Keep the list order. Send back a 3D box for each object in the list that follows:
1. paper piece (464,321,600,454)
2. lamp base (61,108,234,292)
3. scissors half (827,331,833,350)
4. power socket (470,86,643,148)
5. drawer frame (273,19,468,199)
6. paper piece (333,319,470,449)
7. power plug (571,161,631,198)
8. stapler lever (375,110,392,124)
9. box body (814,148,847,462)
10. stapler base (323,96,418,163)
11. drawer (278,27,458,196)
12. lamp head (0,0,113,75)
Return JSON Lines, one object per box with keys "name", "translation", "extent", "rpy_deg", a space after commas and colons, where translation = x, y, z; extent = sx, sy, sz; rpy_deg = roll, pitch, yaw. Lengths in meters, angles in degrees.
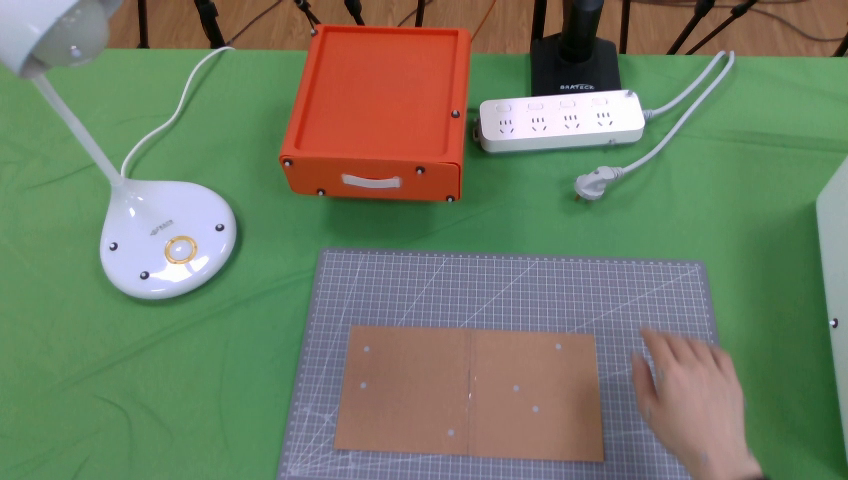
{"name": "paper piece", "translation": [0.111, 0.150, 0.630], "extent": [0.135, 0.004, 0.134], "rpy_deg": [2, 60, 5]}
{"name": "lamp base", "translation": [-0.325, -0.054, 0.671], "extent": [0.178, 0.182, 0.160], "rpy_deg": [32, 66, 22]}
{"name": "scissors half", "translation": [0.494, 0.075, 0.647], "extent": [0.175, 0.013, 0.039], "rpy_deg": [-24, 64, -16]}
{"name": "power socket", "translation": [0.174, -0.162, 0.793], "extent": [0.227, 0.033, 0.071], "rpy_deg": [-3, 61, 1]}
{"name": "drawer frame", "translation": [-0.053, -0.160, 0.725], "extent": [0.201, 0.083, 0.212], "rpy_deg": [3, 60, 5]}
{"name": "paper piece", "translation": [-0.021, 0.147, 0.639], "extent": [0.136, 0.009, 0.137], "rpy_deg": [1, 62, 7]}
{"name": "power plug", "translation": [0.214, -0.070, 0.736], "extent": [0.073, 0.053, 0.035], "rpy_deg": [4, 55, -17]}
{"name": "stapler lever", "translation": [-0.077, -0.146, 0.709], "extent": [0.117, 0.040, 0.027], "rpy_deg": [30, 83, 23]}
{"name": "box body", "translation": [0.543, 0.061, 0.573], "extent": [0.254, 0.162, 0.361], "rpy_deg": [9, 61, 8]}
{"name": "stapler base", "translation": [-0.068, -0.138, 0.733], "extent": [0.129, 0.024, 0.041], "rpy_deg": [30, 83, 21]}
{"name": "drawer", "translation": [-0.052, -0.158, 0.723], "extent": [0.194, 0.074, 0.210], "rpy_deg": [3, 60, 5]}
{"name": "lamp head", "translation": [-0.290, -0.192, 0.415], "extent": [0.124, 0.112, 0.112], "rpy_deg": [42, 64, -18]}
